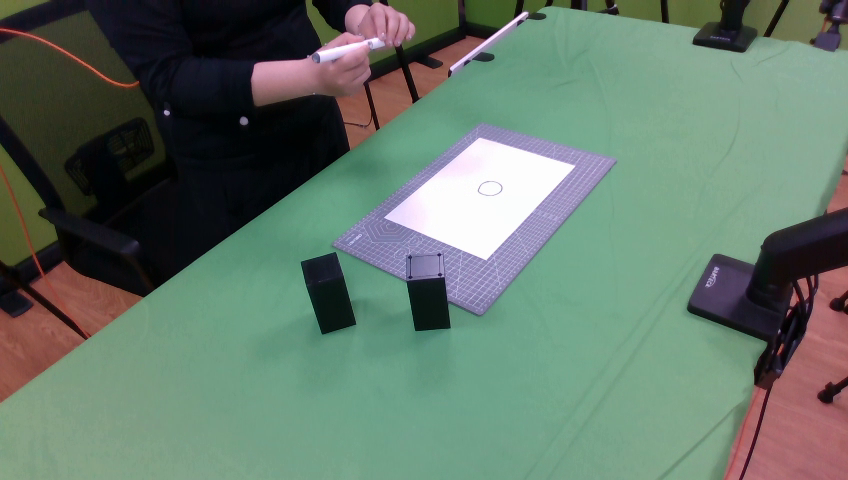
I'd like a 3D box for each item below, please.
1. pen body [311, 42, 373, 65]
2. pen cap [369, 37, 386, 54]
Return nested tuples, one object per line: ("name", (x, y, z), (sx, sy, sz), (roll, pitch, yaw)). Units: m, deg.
("pen body", (-0.118, -0.293, 0.938), (0.017, 0.017, 0.145), (24, 38, 32))
("pen cap", (-0.077, -0.317, 0.981), (0.017, 0.017, 0.038), (17, 45, 27))
